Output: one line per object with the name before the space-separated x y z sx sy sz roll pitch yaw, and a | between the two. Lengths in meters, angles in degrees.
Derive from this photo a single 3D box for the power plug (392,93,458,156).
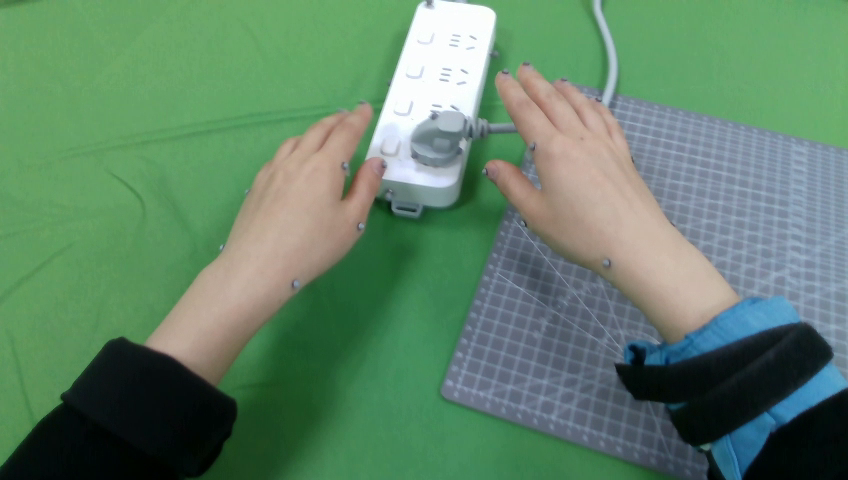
power plug | 0.006 -0.085 0.413 0.035 0.073 0.052 31 76 6

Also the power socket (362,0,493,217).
power socket | 0.008 -0.118 0.493 0.072 0.033 0.225 11 57 5
